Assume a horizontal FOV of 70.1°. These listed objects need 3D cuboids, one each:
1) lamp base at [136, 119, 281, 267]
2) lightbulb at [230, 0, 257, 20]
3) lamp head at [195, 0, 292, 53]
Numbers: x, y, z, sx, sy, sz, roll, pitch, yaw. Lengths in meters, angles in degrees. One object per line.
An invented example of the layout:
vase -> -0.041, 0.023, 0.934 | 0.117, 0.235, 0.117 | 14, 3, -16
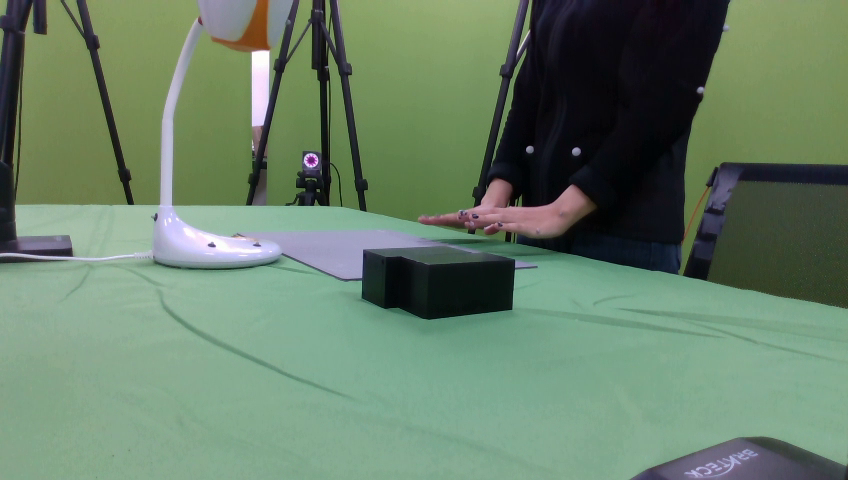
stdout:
lamp base -> -0.275, -0.061, 0.773 | 0.160, 0.180, 0.180 | 9, 13, 44
lightbulb -> -0.175, -0.275, 0.603 | 0.059, 0.107, 0.059 | 11, 11, -2
lamp head -> -0.185, -0.254, 0.610 | 0.112, 0.123, 0.112 | 10, 20, -3
